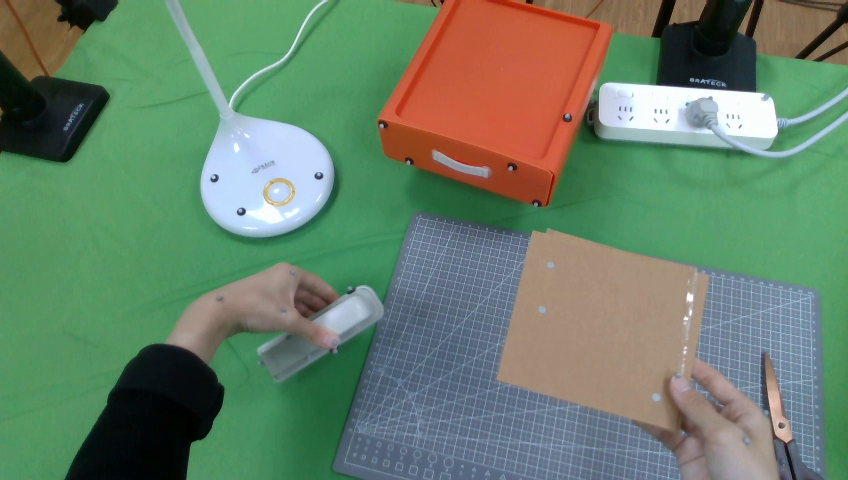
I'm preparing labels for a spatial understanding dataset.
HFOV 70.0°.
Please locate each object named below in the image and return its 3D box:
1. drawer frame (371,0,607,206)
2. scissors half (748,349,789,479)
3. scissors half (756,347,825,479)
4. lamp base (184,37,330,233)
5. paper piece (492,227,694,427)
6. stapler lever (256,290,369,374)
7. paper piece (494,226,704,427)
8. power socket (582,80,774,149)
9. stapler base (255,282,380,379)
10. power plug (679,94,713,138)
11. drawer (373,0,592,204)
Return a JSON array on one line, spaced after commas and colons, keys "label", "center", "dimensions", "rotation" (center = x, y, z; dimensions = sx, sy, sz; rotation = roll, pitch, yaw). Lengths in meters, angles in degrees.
[{"label": "drawer frame", "center": [0.076, -0.170, 0.692], "dimensions": [0.201, 0.083, 0.212], "rotation": [19, 66, 13]}, {"label": "scissors half", "center": [0.325, 0.184, 0.575], "dimensions": [0.040, 0.013, 0.174], "rotation": [15, 60, 0]}, {"label": "scissors half", "center": [0.345, 0.185, 0.575], "dimensions": [0.040, 0.013, 0.173], "rotation": [-3, 61, -4]}, {"label": "lamp base", "center": [-0.207, -0.123, 0.672], "dimensions": [0.160, 0.182, 0.177], "rotation": [-39, 64, -16]}, {"label": "paper piece", "center": [0.135, 0.062, 0.478], "dimensions": [0.135, 0.009, 0.137], "rotation": [14, 67, 11]}, {"label": "stapler lever", "center": [-0.107, 0.088, 0.577], "dimensions": [0.118, 0.040, 0.027], "rotation": [-32, 84, -4]}, {"label": "paper piece", "center": [0.143, 0.063, 0.491], "dimensions": [0.134, 0.004, 0.135], "rotation": [19, 67, 20]}, {"label": "power socket", "center": [0.311, -0.155, 0.745], "dimensions": [0.226, 0.033, 0.071], "rotation": [6, 64, 6]}, {"label": "stapler base", "center": [-0.106, 0.089, 0.602], "dimensions": [0.130, 0.024, 0.041], "rotation": [-32, 85, -3]}, {"label": "power plug", "center": [0.315, -0.139, 0.711], "dimensions": [0.035, 0.053, 0.072], "rotation": [16, 65, 11]}, {"label": "drawer", "center": [0.075, -0.166, 0.687], "dimensions": [0.194, 0.074, 0.210], "rotation": [19, 64, 13]}]
